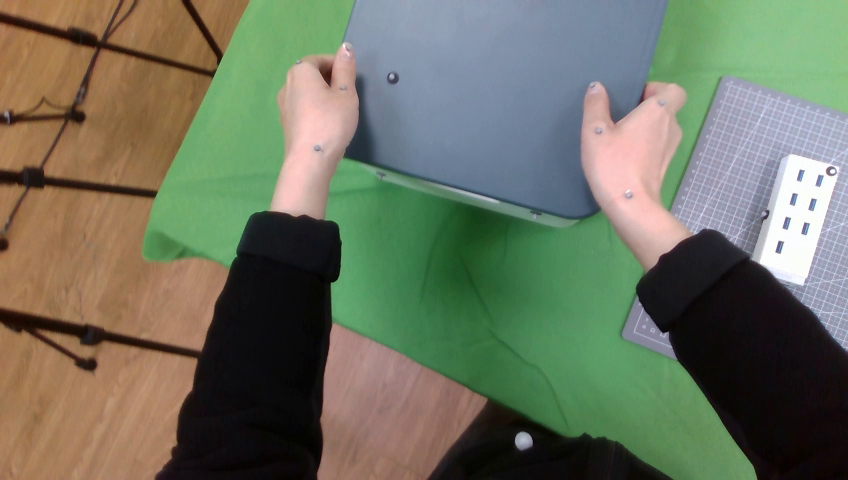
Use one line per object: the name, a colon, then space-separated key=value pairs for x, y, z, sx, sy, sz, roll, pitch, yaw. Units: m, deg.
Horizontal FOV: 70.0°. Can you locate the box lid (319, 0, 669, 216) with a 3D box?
box lid: x=0.076 y=-0.221 z=0.524 sx=0.262 sy=0.015 sz=0.371 roll=16 pitch=87 yaw=9

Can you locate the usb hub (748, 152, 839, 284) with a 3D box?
usb hub: x=0.370 y=-0.022 z=0.607 sx=0.049 sy=0.025 sz=0.125 roll=18 pitch=88 yaw=9

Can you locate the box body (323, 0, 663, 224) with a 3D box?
box body: x=0.087 y=-0.215 z=0.596 sx=0.253 sy=0.161 sz=0.363 roll=16 pitch=87 yaw=9
